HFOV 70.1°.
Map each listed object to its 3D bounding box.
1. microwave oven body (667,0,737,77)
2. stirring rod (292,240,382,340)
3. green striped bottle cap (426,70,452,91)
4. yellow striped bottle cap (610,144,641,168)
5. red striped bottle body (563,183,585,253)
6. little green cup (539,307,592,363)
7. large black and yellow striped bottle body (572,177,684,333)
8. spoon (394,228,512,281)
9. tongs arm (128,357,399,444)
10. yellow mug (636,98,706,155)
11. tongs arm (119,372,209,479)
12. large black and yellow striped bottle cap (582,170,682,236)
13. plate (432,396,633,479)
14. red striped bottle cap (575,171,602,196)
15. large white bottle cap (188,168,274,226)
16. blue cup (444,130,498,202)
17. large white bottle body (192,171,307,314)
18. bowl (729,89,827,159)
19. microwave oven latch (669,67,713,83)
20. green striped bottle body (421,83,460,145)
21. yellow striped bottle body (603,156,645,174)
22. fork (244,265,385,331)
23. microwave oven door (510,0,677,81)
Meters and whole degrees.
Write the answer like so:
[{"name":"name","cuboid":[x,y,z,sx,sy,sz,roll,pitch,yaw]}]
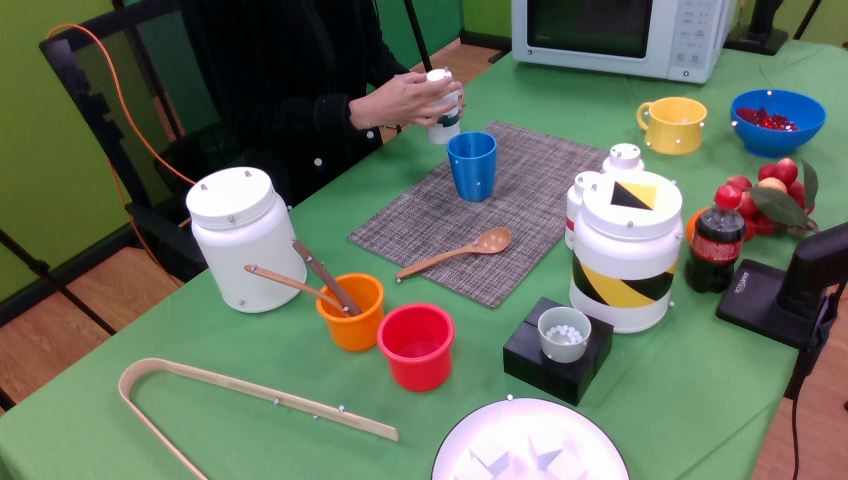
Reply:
[{"name":"microwave oven body","cuboid":[0.462,-0.552,1.369,0.439,0.261,0.326,15,45,26]},{"name":"stirring rod","cuboid":[-0.119,0.068,0.826,0.176,0.006,0.014,49,58,-4]},{"name":"green striped bottle cap","cuboid":[0.025,-0.270,1.025,0.044,0.020,0.044,-2,42,3]},{"name":"yellow striped bottle cap","cuboid":[0.307,-0.128,0.923,0.044,0.019,0.044,-6,39,5]},{"name":"red striped bottle body","cuboid":[0.246,-0.041,0.910,0.063,0.120,0.062,-2,38,2]},{"name":"little green cup","cuboid":[0.168,0.115,0.721,0.061,0.039,0.061,-4,42,4]},{"name":"large black and yellow striped bottle body","cuboid":[0.262,0.017,0.788,0.131,0.185,0.130,-5,40,4]},{"name":"spoon","cuboid":[0.045,0.024,0.935,0.194,0.022,0.041,-18,66,-11]},{"name":"tongs arm","cuboid":[-0.213,0.205,0.755,0.382,0.026,0.051,12,46,23]},{"name":"yellow mug","cuboid":[0.453,-0.217,1.128,0.100,0.064,0.129,-34,46,-27]},{"name":"tongs arm","cuboid":[-0.258,0.257,0.700,0.384,0.028,0.028,24,55,34]},{"name":"large black and yellow striped bottle cap","cuboid":[0.252,-0.048,0.735,0.115,0.019,0.114,-3,40,3]},{"name":"plate","cuboid":[0.112,0.261,0.634,0.209,0.038,0.208,-5,40,4]},{"name":"red striped bottle cap","cuboid":[0.242,-0.081,0.876,0.044,0.018,0.044,-5,43,5]},{"name":"large white bottle cap","cuboid":[-0.264,-0.061,0.831,0.115,0.018,0.114,-4,40,4]},{"name":"blue cup","cuboid":[0.087,-0.123,1.040,0.092,0.100,0.092,-5,42,5]},{"name":"large white bottle body","cuboid":[-0.256,0.003,0.885,0.130,0.185,0.130,-4,40,4]},{"name":"bowl","cuboid":[0.615,-0.197,1.069,0.151,0.077,0.150,-5,40,5]},{"name":"microwave oven latch","cuboid":[0.556,-0.348,1.261,0.078,0.029,0.030,16,46,27]},{"name":"green striped bottle body","cuboid":[0.029,-0.232,1.060,0.063,0.120,0.063,-4,42,4]},{"name":"yellow striped bottle body","cuboid":[0.313,-0.089,0.955,0.063,0.121,0.062,-5,39,4]},{"name":"fork","cuboid":[-0.142,0.078,0.806,0.209,0.018,0.028,30,32,-23]},{"name":"microwave oven door","cuboid":[0.354,-0.478,1.290,0.353,0.245,0.039,15,45,25]}]
